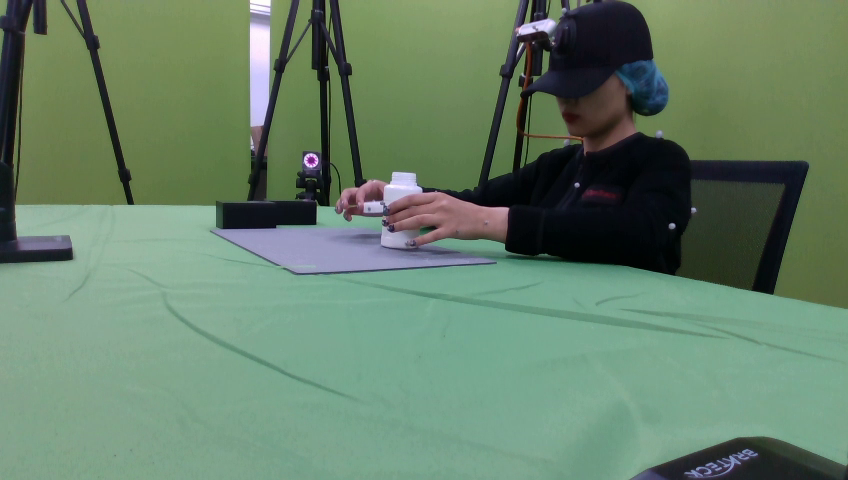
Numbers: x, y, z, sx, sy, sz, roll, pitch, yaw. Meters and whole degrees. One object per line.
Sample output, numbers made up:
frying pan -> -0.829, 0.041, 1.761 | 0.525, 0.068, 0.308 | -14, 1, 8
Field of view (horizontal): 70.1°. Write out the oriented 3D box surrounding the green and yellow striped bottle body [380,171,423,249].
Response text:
green and yellow striped bottle body -> -0.035, -0.049, 0.967 | 0.063, 0.119, 0.063 | 4, 8, 0

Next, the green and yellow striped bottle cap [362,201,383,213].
green and yellow striped bottle cap -> -0.084, -0.057, 1.044 | 0.045, 0.020, 0.045 | -2, 6, 0
